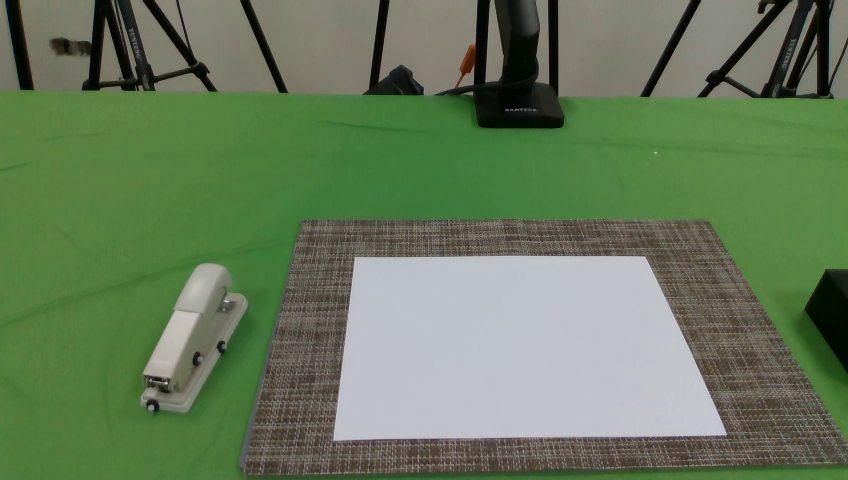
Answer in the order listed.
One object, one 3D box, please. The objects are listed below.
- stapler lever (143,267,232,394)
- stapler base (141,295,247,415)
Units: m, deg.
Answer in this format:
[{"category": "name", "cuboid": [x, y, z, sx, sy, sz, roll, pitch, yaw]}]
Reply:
[{"category": "stapler lever", "cuboid": [-0.192, 0.069, 0.499, 0.027, 0.040, 0.117, 6, 40, 8]}, {"category": "stapler base", "cuboid": [-0.193, 0.087, 0.516, 0.041, 0.024, 0.129, 6, 40, 8]}]
